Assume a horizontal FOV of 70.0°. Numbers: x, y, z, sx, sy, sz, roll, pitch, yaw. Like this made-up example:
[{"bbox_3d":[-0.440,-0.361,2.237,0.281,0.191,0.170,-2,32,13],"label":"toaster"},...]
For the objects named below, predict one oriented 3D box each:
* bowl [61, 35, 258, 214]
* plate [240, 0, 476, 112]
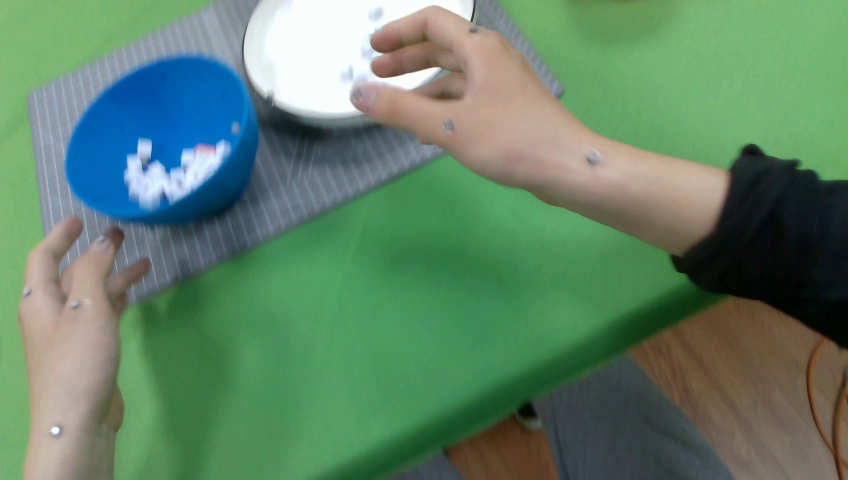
[{"bbox_3d":[-0.192,-0.077,0.481,0.151,0.077,0.150,-5,65,11],"label":"bowl"},{"bbox_3d":[-0.056,-0.194,0.525,0.209,0.038,0.207,-5,66,11],"label":"plate"}]
